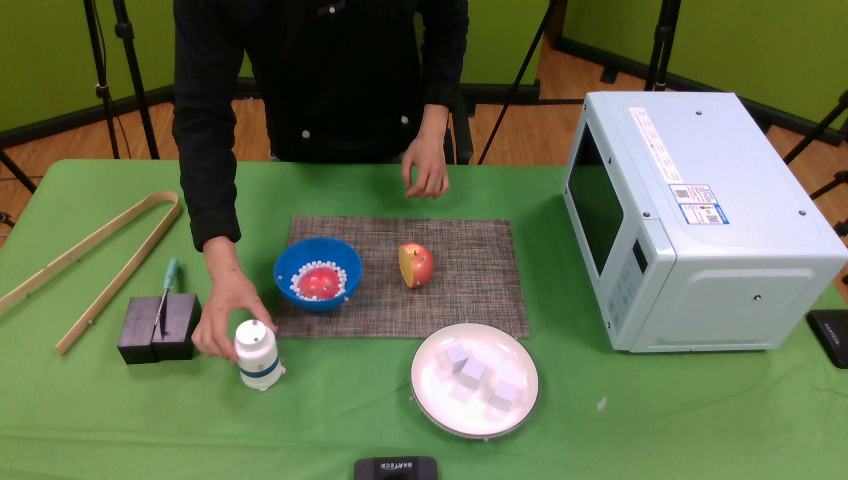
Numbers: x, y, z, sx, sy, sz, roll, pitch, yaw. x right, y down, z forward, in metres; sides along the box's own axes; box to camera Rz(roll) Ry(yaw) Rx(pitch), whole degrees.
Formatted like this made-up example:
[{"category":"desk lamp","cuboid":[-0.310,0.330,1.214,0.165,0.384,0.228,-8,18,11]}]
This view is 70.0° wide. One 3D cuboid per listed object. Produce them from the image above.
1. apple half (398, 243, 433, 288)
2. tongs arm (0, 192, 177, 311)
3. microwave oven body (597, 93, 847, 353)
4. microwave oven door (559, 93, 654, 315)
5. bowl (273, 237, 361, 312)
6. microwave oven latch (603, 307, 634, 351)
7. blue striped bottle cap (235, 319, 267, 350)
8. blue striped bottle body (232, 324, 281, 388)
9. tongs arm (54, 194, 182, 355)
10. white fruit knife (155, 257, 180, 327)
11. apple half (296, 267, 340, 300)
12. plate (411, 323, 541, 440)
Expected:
[{"category":"apple half","cuboid":[-0.012,0.046,1.115,0.053,0.075,0.080,-11,44,-19]},{"category":"tongs arm","cuboid":[-0.618,0.019,1.124,0.050,0.026,0.384,24,47,16]},{"category":"microwave oven body","cuboid":[0.475,-0.041,1.109,0.326,0.261,0.438,-1,45,-4]},{"category":"microwave oven door","cuboid":[0.327,-0.074,1.123,0.039,0.245,0.353,-1,46,-5]},{"category":"bowl","cuboid":[-0.185,0.074,1.069,0.151,0.077,0.150,3,46,-3]},{"category":"microwave oven latch","cuboid":[0.332,0.153,1.043,0.030,0.029,0.078,0,45,-4]},{"category":"blue striped bottle cap","cuboid":[-0.257,0.140,0.900,0.044,0.021,0.044,4,48,-4]},{"category":"blue striped bottle body","cuboid":[-0.260,0.174,0.939,0.063,0.121,0.062,2,48,-2]},{"category":"tongs arm","cuboid":[-0.543,0.049,1.108,0.028,0.028,0.385,12,46,9]},{"category":"white fruit knife","cuboid":[-0.440,0.085,1.037,0.016,0.027,0.206,11,26,-19]},{"category":"apple half","cuboid":[-0.187,0.070,1.067,0.081,0.033,0.081,3,47,-3]},{"category":"plate","cuboid":[0.082,0.228,0.976,0.208,0.039,0.206,2,45,-2]}]
